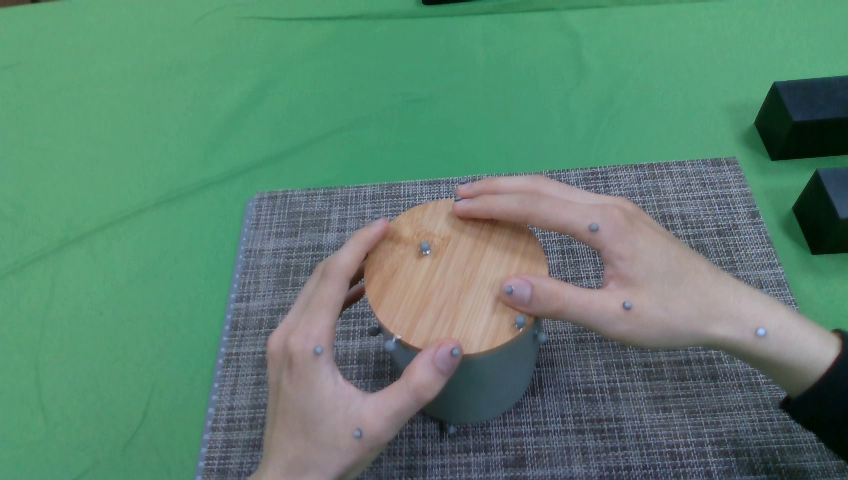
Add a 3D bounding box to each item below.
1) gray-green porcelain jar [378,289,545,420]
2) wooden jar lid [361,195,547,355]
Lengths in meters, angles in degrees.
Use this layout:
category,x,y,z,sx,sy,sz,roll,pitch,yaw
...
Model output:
category,x,y,z,sx,sy,sz,roll,pitch,yaw
gray-green porcelain jar,0.025,0.057,0.412,0.106,0.127,0.105,-2,56,4
wooden jar lid,0.018,0.020,0.359,0.108,0.021,0.107,-1,57,2
